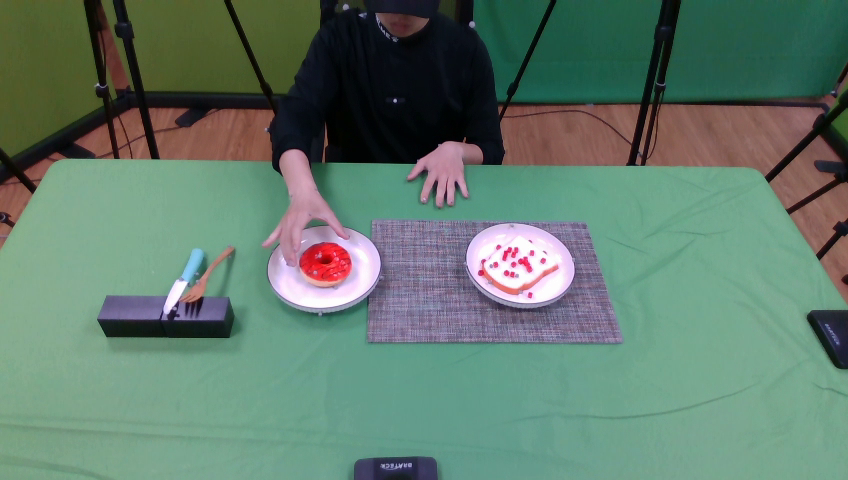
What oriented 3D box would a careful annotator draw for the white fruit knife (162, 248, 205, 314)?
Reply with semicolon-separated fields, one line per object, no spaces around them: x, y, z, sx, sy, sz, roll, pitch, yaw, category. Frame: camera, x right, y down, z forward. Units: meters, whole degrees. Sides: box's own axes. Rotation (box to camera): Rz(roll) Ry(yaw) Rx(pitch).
-0.420;0.070;1.063;0.027;0.016;0.206;-1;29;-3;white fruit knife

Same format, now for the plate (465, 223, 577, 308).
0.180;0.051;1.144;0.209;0.038;0.208;2;45;-2;plate

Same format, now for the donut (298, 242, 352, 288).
-0.182;0.046;1.112;0.099;0.048;0.098;4;44;-3;donut

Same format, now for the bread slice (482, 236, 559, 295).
0.177;0.050;1.148;0.131;0.019;0.104;-31;55;-30;bread slice

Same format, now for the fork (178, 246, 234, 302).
-0.380;0.057;1.075;0.028;0.019;0.206;2;28;6;fork

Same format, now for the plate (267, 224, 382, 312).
-0.181;0.054;1.120;0.208;0.039;0.206;2;46;-2;plate
